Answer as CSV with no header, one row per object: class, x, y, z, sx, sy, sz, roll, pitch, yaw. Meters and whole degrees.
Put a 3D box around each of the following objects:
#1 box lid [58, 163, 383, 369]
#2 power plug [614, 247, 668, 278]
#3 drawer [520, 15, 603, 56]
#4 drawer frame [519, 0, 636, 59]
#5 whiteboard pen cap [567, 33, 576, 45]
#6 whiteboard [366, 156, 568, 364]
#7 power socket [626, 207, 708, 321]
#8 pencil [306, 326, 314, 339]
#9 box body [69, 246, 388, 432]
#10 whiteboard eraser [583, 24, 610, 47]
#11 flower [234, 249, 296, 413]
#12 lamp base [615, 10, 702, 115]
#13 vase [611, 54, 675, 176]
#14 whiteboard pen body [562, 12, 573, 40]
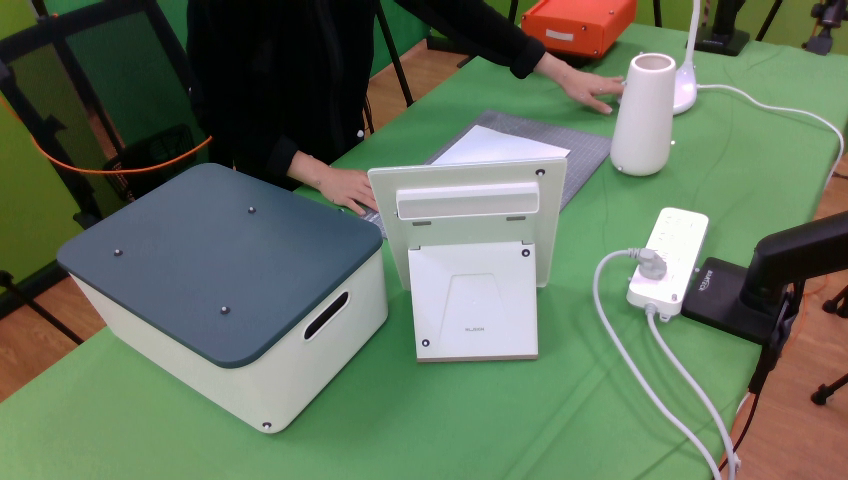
box lid,-0.262,0.010,0.777,0.369,0.015,0.264,21,47,29
power plug,0.306,0.031,0.851,0.072,0.053,0.035,24,49,33
drawer,0.359,-0.517,1.416,0.193,0.073,0.212,20,47,29
drawer frame,0.362,-0.518,1.423,0.200,0.083,0.214,19,48,29
whiteboard pen cap,0.339,-0.463,1.390,0.018,0.018,0.033,-2,44,5
whiteboard,0.059,0.050,0.738,0.217,0.307,0.143,-2,60,6
power socket,0.359,0.025,0.886,0.072,0.033,0.227,16,46,26
pencil,-0.187,0.106,0.880,0.012,0.012,0.192,-27,41,-22
box body,-0.256,0.065,0.827,0.361,0.161,0.255,20,48,29
whiteboard eraser,0.407,-0.479,1.423,0.055,0.042,0.113,-3,10,20
flower,-0.244,0.109,0.870,0.044,0.038,0.358,10,26,-32
lamp base,0.484,-0.363,1.211,0.180,0.181,0.159,-15,41,-14
vase,0.377,-0.209,1.031,0.098,0.201,0.097,-3,40,3
whiteboard pen body,0.340,-0.506,1.430,0.017,0.017,0.140,-1,44,7
